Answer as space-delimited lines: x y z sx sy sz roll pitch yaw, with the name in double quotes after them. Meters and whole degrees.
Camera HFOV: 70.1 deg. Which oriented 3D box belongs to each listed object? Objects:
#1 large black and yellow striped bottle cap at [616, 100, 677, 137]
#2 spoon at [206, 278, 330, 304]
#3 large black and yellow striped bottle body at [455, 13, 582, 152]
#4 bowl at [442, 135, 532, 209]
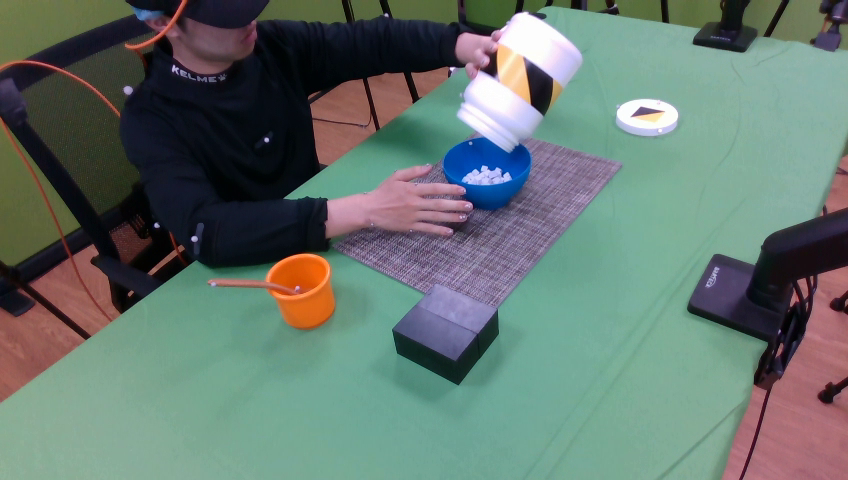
0.438 -0.242 1.190 0.115 0.019 0.114 -4 42 4 "large black and yellow striped bottle cap"
-0.207 0.066 0.824 0.041 0.195 0.021 33 99 41 "spoon"
0.146 -0.245 0.958 0.184 0.132 0.129 -54 46 10 "large black and yellow striped bottle body"
0.108 -0.106 1.026 0.151 0.077 0.150 -4 41 4 "bowl"
